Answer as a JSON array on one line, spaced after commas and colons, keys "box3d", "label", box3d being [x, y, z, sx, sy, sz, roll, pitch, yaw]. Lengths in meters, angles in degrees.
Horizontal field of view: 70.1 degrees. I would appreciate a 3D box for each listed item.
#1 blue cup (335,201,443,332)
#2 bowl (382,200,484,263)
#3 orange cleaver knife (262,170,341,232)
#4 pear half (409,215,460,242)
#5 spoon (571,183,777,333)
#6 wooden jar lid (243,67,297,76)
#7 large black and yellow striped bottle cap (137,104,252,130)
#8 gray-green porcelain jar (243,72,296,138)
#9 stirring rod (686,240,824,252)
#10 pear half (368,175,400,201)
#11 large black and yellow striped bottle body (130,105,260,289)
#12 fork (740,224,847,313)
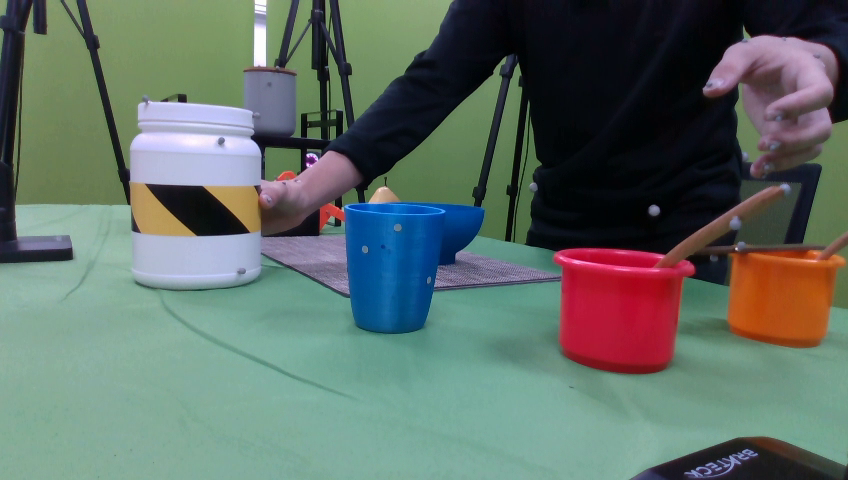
[{"box3d": [-0.028, 0.021, 0.507, 0.093, 0.100, 0.092, 1, 9, 0], "label": "blue cup"}, {"box3d": [0.007, -0.012, 0.842, 0.151, 0.077, 0.151, 2, 7, 0], "label": "bowl"}, {"box3d": [-0.201, -0.056, 1.136, 0.212, 0.077, 0.012, 31, -4, -31], "label": "orange cleaver knife"}, {"box3d": [0.011, -0.019, 0.848, 0.070, 0.031, 0.088, 3, 11, 33], "label": "pear half"}, {"box3d": [0.161, 0.020, 0.413, 0.042, 0.021, 0.193, 1, -36, -24], "label": "spoon"}, {"box3d": [-0.319, -0.342, 1.254, 0.108, 0.020, 0.108, 3, 8, 0], "label": "wooden jar lid"}, {"box3d": [-0.243, -0.131, 0.647, 0.115, 0.019, 0.115, 3, 8, 0], "label": "large black and yellow striped bottle cap"}, {"box3d": [-0.322, -0.279, 1.263, 0.106, 0.126, 0.106, 3, 8, 0], "label": "gray-green porcelain jar"}, {"box3d": [0.290, 0.005, 0.525, 0.177, 0.006, 0.014, -1, 6, -26], "label": "stirring rod"}, {"box3d": [-0.064, -0.061, 1.077, 0.055, 0.110, 0.077, 9, 14, 39], "label": "pear half"}, {"box3d": [-0.246, -0.048, 0.657, 0.131, 0.184, 0.130, 2, 7, 0], "label": "large black and yellow striped bottle body"}, {"box3d": [0.323, 0.013, 0.485, 0.028, 0.018, 0.207, 9, -37, -5], "label": "fork"}]
